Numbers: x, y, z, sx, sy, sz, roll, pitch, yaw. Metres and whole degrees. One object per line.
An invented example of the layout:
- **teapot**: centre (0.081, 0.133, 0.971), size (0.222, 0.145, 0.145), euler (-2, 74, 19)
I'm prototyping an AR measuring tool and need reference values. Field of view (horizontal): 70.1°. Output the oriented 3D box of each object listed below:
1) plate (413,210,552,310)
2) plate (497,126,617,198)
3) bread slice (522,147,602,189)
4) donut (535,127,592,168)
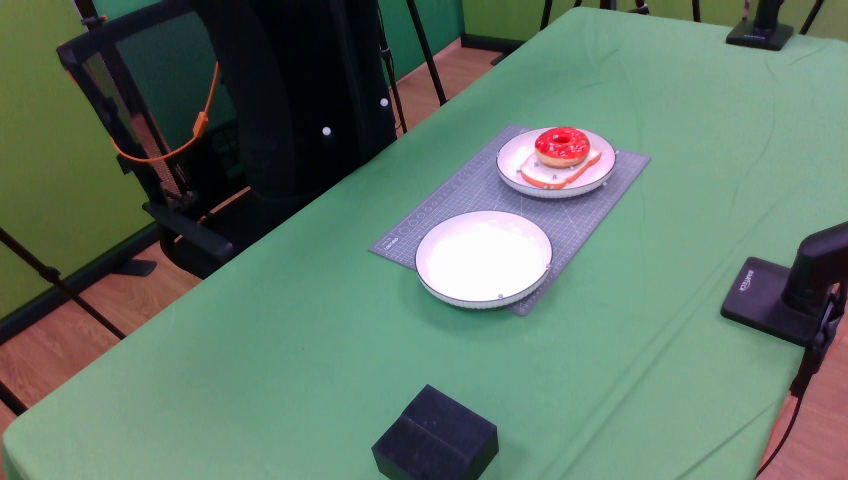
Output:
- **plate**: centre (0.088, 0.033, 0.914), size (0.207, 0.039, 0.206), euler (-5, 40, 5)
- **plate**: centre (0.236, -0.136, 1.085), size (0.209, 0.038, 0.208), euler (-5, 40, 5)
- **bread slice**: centre (0.242, -0.137, 1.085), size (0.106, 0.018, 0.134), euler (23, 51, 34)
- **donut**: centre (0.248, -0.165, 1.073), size (0.099, 0.048, 0.098), euler (-5, 39, 5)
